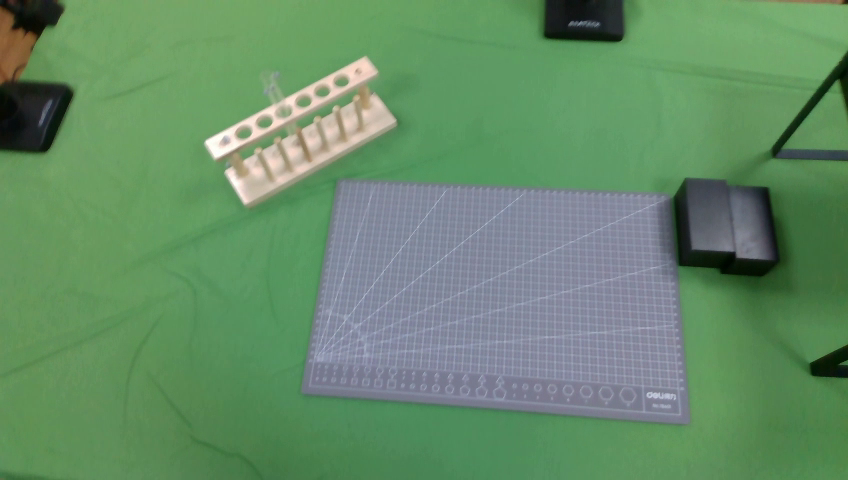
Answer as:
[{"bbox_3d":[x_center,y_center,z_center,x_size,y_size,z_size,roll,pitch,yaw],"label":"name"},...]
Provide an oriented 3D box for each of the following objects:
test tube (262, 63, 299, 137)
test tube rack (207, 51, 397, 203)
[{"bbox_3d":[-0.182,-0.176,0.783,0.017,0.151,0.017,-1,69,2],"label":"test tube"},{"bbox_3d":[-0.159,-0.154,0.826,0.242,0.086,0.066,-31,68,-10],"label":"test tube rack"}]
